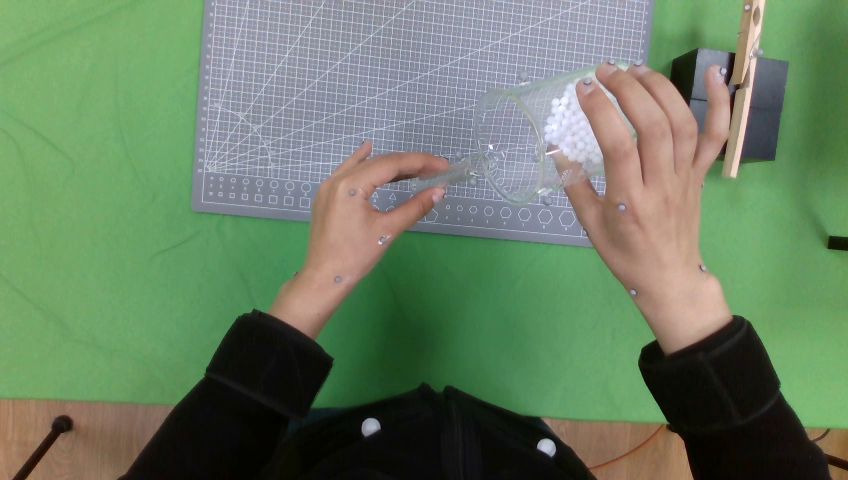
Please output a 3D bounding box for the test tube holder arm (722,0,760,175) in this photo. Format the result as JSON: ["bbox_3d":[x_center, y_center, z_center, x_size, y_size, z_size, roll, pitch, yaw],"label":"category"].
[{"bbox_3d":[0.315,-0.154,0.602,0.013,0.015,0.178,3,95,-15],"label":"test tube holder arm"}]

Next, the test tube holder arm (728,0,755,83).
[{"bbox_3d":[0.313,-0.199,0.596,0.010,0.015,0.088,4,95,-14],"label":"test tube holder arm"}]

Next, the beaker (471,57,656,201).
[{"bbox_3d":[0.091,-0.074,0.396,0.100,0.084,0.074,-19,90,-21],"label":"beaker"}]

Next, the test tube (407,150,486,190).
[{"bbox_3d":[0.013,-0.054,0.485,0.017,0.149,0.017,0,89,-18],"label":"test tube"}]
